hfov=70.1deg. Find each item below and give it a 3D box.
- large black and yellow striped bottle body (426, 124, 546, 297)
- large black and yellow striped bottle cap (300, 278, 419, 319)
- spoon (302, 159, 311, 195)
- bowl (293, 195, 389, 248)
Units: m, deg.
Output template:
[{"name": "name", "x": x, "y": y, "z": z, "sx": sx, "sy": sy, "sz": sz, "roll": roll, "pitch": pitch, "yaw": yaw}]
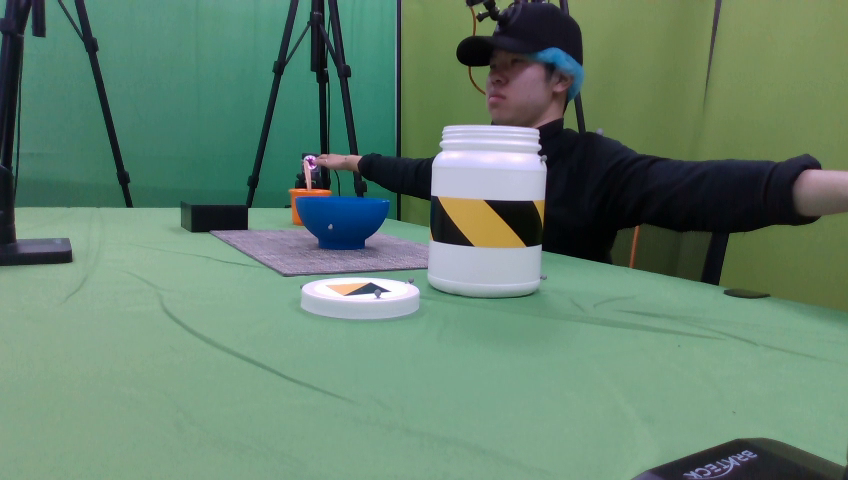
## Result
[{"name": "large black and yellow striped bottle body", "x": 0.070, "y": -0.037, "z": 0.689, "sx": 0.131, "sy": 0.184, "sz": 0.130, "roll": 2, "pitch": 7, "yaw": 0}, {"name": "large black and yellow striped bottle cap", "x": -0.062, "y": 0.055, "z": 0.588, "sx": 0.115, "sy": 0.019, "sz": 0.115, "roll": 1, "pitch": 6, "yaw": 0}, {"name": "spoon", "x": -0.257, "y": -0.113, "z": 1.341, "sx": 0.042, "sy": 0.193, "sz": 0.021, "roll": 3, "pitch": -38, "yaw": -18}, {"name": "bowl", "x": -0.132, "y": -0.029, "z": 0.962, "sx": 0.151, "sy": 0.077, "sz": 0.151, "roll": 2, "pitch": 7, "yaw": 0}]
